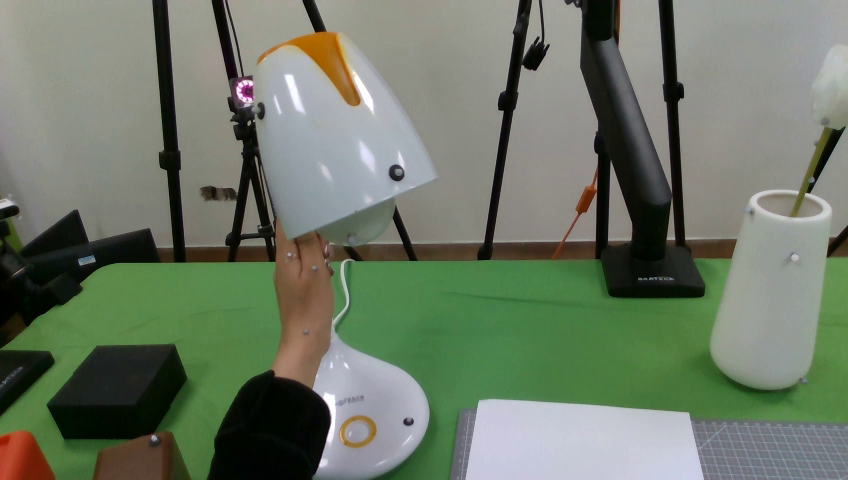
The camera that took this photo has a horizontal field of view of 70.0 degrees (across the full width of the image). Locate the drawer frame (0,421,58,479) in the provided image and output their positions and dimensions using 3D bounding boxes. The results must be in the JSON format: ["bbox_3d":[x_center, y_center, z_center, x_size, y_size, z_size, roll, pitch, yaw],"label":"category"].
[{"bbox_3d":[-0.422,0.267,0.472,0.202,0.083,0.211,-15,29,-15],"label":"drawer frame"}]

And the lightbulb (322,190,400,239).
[{"bbox_3d":[-0.051,-0.054,0.403,0.059,0.108,0.059,-13,7,2],"label":"lightbulb"}]

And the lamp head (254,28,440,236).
[{"bbox_3d":[-0.063,-0.076,0.409,0.112,0.123,0.112,-25,2,1],"label":"lamp head"}]

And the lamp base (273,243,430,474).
[{"bbox_3d":[-0.087,0.104,0.600,0.161,0.181,0.177,-17,28,-20],"label":"lamp base"}]

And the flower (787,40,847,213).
[{"bbox_3d":[0.333,-0.014,0.557,0.038,0.365,0.043,-36,52,-21],"label":"flower"}]

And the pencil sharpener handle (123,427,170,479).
[{"bbox_3d":[-0.243,0.186,0.539,0.036,0.068,0.030,-8,28,-17],"label":"pencil sharpener handle"}]

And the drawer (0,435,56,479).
[{"bbox_3d":[-0.419,0.270,0.471,0.195,0.074,0.209,-14,28,-14],"label":"drawer"}]

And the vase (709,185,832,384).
[{"bbox_3d":[0.350,0.047,0.614,0.098,0.201,0.097,-5,28,3],"label":"vase"}]

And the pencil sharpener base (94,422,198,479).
[{"bbox_3d":[-0.224,0.217,0.503,0.061,0.108,0.076,-14,29,-14],"label":"pencil sharpener base"}]
